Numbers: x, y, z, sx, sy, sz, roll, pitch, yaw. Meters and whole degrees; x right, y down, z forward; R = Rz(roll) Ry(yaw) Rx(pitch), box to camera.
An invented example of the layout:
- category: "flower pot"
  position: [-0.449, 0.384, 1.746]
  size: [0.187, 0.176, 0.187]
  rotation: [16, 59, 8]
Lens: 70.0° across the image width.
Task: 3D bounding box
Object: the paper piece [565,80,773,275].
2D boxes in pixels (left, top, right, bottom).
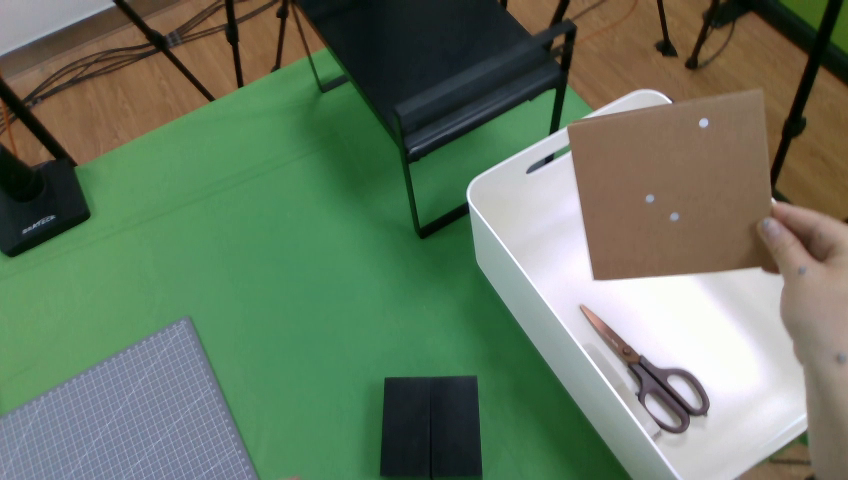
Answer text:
- category: "paper piece"
  position: [0.187, -0.040, 0.464]
  size: [0.135, 0.136, 0.004]
  rotation: [-7, 18, 23]

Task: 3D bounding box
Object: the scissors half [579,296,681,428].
- category: "scissors half"
  position: [0.224, 0.131, 0.679]
  size: [0.040, 0.013, 0.173]
  rotation: [-23, 58, -8]

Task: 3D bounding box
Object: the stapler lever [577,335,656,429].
- category: "stapler lever"
  position: [0.198, 0.152, 0.638]
  size: [0.027, 0.040, 0.117]
  rotation: [-34, 71, -8]

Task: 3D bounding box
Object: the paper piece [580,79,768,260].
- category: "paper piece"
  position: [0.194, -0.049, 0.480]
  size: [0.135, 0.139, 0.008]
  rotation: [1, 19, 39]

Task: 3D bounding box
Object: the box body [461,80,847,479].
- category: "box body"
  position: [0.237, 0.043, 0.645]
  size: [0.254, 0.162, 0.360]
  rotation: [-30, 64, -10]

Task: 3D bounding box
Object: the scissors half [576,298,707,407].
- category: "scissors half"
  position: [0.241, 0.121, 0.684]
  size: [0.040, 0.013, 0.173]
  rotation: [-39, 63, -23]

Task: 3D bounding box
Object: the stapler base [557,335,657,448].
- category: "stapler base"
  position: [0.199, 0.161, 0.662]
  size: [0.041, 0.024, 0.129]
  rotation: [-34, 70, -8]
